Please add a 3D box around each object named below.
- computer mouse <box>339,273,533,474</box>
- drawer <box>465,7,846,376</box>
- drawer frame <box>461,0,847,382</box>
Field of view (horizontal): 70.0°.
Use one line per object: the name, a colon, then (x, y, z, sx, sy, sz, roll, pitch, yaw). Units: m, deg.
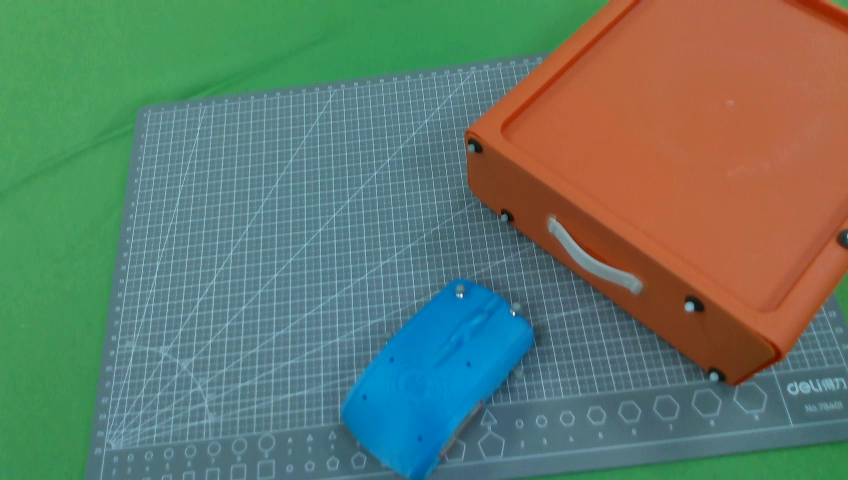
computer mouse: (0.008, 0.070, 0.343, 0.062, 0.041, 0.117, 35, 68, 22)
drawer: (0.165, -0.061, 0.367, 0.193, 0.074, 0.211, 40, 73, 22)
drawer frame: (0.166, -0.063, 0.366, 0.200, 0.083, 0.213, 39, 73, 21)
